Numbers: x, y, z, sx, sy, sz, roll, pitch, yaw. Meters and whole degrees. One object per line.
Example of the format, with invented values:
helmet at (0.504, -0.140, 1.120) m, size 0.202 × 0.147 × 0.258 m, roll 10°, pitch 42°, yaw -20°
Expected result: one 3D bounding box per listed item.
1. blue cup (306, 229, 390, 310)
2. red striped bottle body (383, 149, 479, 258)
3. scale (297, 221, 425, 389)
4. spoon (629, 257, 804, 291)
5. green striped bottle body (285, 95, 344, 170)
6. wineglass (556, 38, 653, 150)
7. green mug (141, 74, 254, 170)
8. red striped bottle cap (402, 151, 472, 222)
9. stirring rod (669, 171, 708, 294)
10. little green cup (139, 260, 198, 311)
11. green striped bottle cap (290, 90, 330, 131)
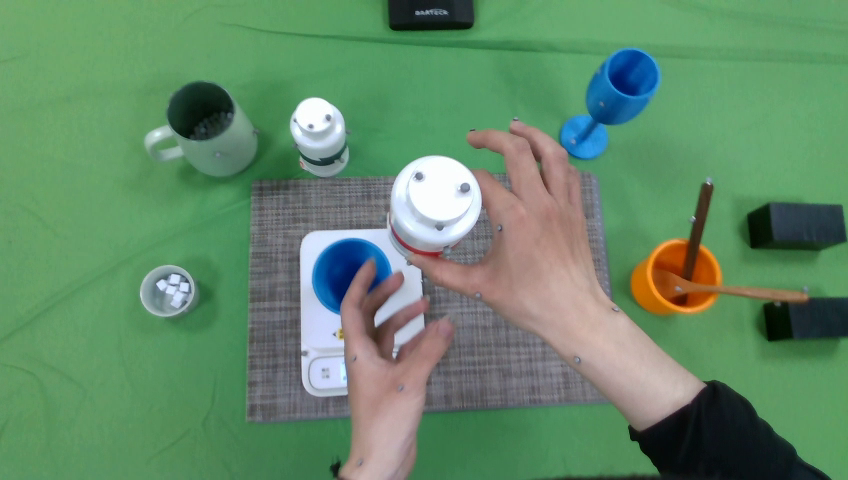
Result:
blue cup at (-0.081, 0.040, 0.679) m, size 0.093 × 0.100 × 0.092 m, roll 1°, pitch 79°, yaw -4°
red striped bottle body at (0.003, -0.026, 0.443) m, size 0.063 × 0.120 × 0.063 m, roll 1°, pitch 80°, yaw -6°
scale at (-0.078, 0.075, 0.739) m, size 0.149 × 0.031 × 0.200 m, roll -3°, pitch 78°, yaw -5°
spoon at (0.340, 0.047, 0.720) m, size 0.022 × 0.192 × 0.041 m, roll 20°, pitch 79°, yaw -44°
green striped bottle body at (-0.133, -0.135, 0.742) m, size 0.063 × 0.119 × 0.063 m, roll 1°, pitch 76°, yaw -3°
wineglass at (0.217, -0.174, 0.749) m, size 0.074 × 0.173 × 0.073 m, roll 1°, pitch 76°, yaw -3°
green mug at (-0.278, -0.135, 0.739) m, size 0.125 × 0.105 × 0.092 m, roll -24°, pitch 80°, yaw -9°
red striped bottle cap at (0.009, -0.035, 0.391) m, size 0.044 × 0.018 × 0.044 m, roll 1°, pitch 80°, yaw -7°
stirring rod at (0.318, -0.004, 0.730) m, size 0.014 × 0.177 × 0.006 m, roll 3°, pitch 36°, yaw 9°
little green cup at (-0.303, 0.057, 0.726) m, size 0.061 × 0.039 × 0.061 m, roll 1°, pitch 78°, yaw -5°
green striped bottle cap at (-0.130, -0.148, 0.691) m, size 0.044 × 0.020 × 0.044 m, roll 1°, pitch 76°, yaw -4°
